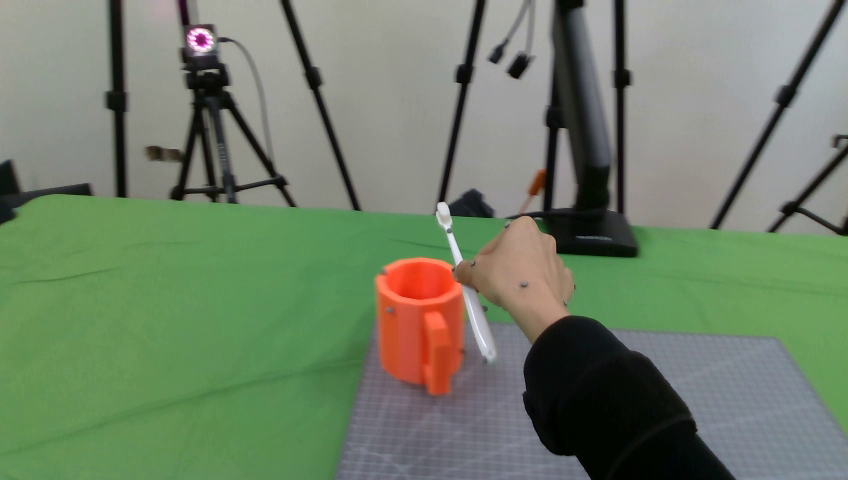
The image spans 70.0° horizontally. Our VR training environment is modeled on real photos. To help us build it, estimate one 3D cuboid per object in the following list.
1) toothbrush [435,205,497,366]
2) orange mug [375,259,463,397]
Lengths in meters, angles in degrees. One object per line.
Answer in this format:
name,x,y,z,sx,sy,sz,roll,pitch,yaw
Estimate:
toothbrush,0.033,0.031,0.519,0.014,0.017,0.180,-8,45,-8
orange mug,-0.001,0.089,0.593,0.084,0.101,0.125,-6,25,-13
